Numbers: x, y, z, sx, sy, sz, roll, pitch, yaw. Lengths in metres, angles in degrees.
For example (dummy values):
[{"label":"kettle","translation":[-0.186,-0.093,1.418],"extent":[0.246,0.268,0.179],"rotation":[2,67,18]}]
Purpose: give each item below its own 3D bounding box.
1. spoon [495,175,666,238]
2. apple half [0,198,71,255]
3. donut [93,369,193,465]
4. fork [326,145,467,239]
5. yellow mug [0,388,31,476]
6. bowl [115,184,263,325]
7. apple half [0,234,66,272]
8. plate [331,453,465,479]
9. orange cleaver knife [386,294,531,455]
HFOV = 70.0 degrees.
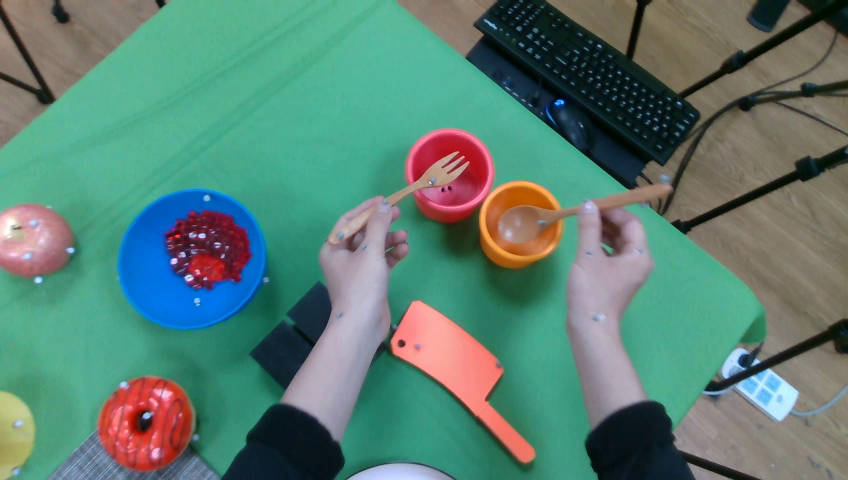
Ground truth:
[{"label":"spoon","translation":[0.147,-0.035,0.604],"extent":[0.022,0.193,0.041],"rotation":[3,79,-39]},{"label":"apple half","translation":[-0.430,-0.017,0.668],"extent":[0.081,0.075,0.053],"rotation":[8,71,4]},{"label":"donut","translation":[-0.294,0.185,0.636],"extent":[0.099,0.048,0.098],"rotation":[1,77,-2]},{"label":"fork","translation":[-0.023,-0.052,0.615],"extent":[0.028,0.019,0.207],"rotation":[49,48,6]},{"label":"yellow mug","translation":[-0.477,0.215,0.616],"extent":[0.100,0.064,0.130],"rotation":[18,77,3]},{"label":"bowl","translation":[-0.245,0.022,0.664],"extent":[0.151,0.077,0.150],"rotation":[1,78,-3]},{"label":"apple half","translation":[-0.435,0.020,0.658],"extent":[0.081,0.081,0.032],"rotation":[9,71,1]},{"label":"plate","translation":[-0.027,0.324,0.619],"extent":[0.209,0.038,0.208],"rotation":[0,77,-1]},{"label":"orange cleaver knife","translation":[0.047,0.147,0.673],"extent":[0.210,0.012,0.077],"rotation":[42,72,9]}]
